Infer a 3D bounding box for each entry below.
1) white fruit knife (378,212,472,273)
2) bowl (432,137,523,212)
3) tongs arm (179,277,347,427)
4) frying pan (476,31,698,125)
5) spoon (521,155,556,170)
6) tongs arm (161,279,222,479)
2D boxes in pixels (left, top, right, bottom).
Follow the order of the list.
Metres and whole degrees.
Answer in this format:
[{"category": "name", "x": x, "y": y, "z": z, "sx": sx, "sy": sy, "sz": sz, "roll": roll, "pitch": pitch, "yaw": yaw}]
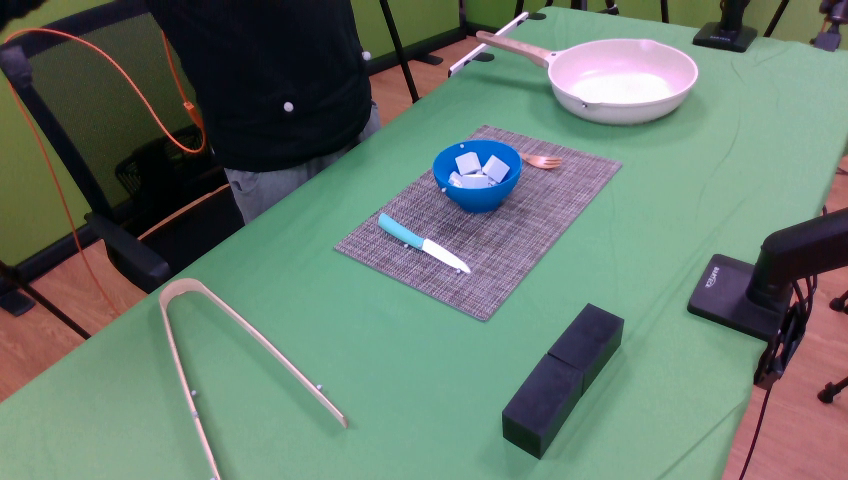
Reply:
[{"category": "white fruit knife", "x": -0.004, "y": 0.005, "z": 0.960, "sx": 0.205, "sy": 0.016, "sz": 0.027, "roll": 29, "pitch": 63, "yaw": 34}, {"category": "bowl", "x": 0.091, "y": -0.100, "z": 1.022, "sx": 0.151, "sy": 0.077, "sz": 0.150, "roll": -4, "pitch": 41, "yaw": 4}, {"category": "tongs arm", "x": -0.231, "y": 0.141, "z": 0.832, "sx": 0.384, "sy": 0.028, "sz": 0.028, "roll": 30, "pitch": 55, "yaw": 35}, {"category": "frying pan", "x": 0.321, "y": -0.371, "z": 1.290, "sx": 0.484, "sy": 0.103, "sz": 0.307, "roll": 29, "pitch": 51, "yaw": 23}, {"category": "spoon", "x": 0.156, "y": -0.161, "z": 1.126, "sx": 0.192, "sy": 0.022, "sz": 0.042, "roll": 25, "pitch": 36, "yaw": 29}, {"category": "tongs arm", "x": -0.297, "y": 0.174, "z": 0.797, "sx": 0.051, "sy": 0.026, "sz": 0.381, "roll": -25, "pitch": 43, "yaw": -21}]
